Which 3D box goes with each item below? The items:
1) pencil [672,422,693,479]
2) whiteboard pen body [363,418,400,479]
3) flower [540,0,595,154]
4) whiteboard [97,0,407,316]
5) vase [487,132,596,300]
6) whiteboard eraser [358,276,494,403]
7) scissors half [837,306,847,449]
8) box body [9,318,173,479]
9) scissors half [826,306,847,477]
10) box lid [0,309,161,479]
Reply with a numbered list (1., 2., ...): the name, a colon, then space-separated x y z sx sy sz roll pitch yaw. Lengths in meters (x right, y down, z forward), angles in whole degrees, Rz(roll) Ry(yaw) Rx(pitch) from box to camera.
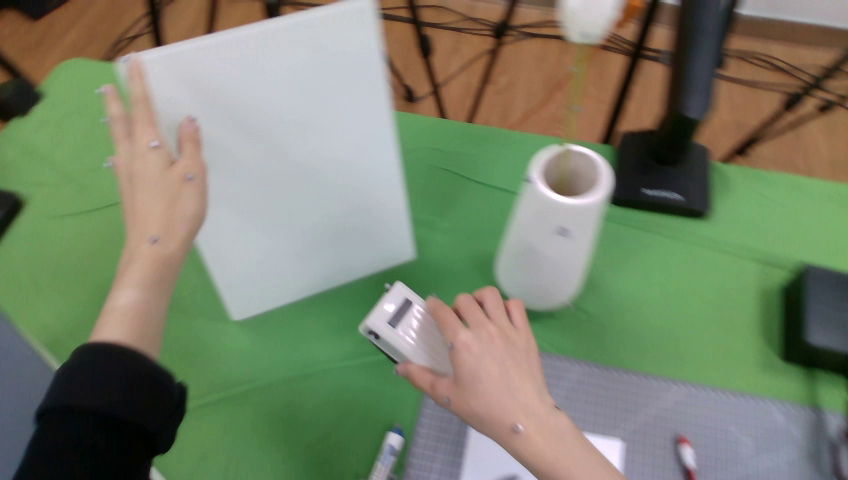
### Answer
1. pencil: 0.254 0.266 0.555 0.012 0.012 0.192 -2 61 -1
2. whiteboard pen body: -0.053 0.234 0.568 0.017 0.017 0.140 17 58 10
3. flower: 0.114 -0.076 0.556 0.044 0.365 0.038 4 41 6
4. whiteboard: -0.163 -0.105 0.644 0.217 0.308 0.142 -20 41 -11
5. vase: 0.118 -0.019 0.619 0.098 0.201 0.097 0 57 1
6. whiteboard eraser: 0.001 0.087 0.526 0.113 0.042 0.055 40 62 -1
7. scissors half: 0.415 0.135 0.584 0.013 0.040 0.174 16 50 5
8. box body: -0.362 0.233 0.483 0.361 0.162 0.253 35 65 19
9. scissors half: 0.415 0.145 0.602 0.013 0.040 0.174 13 68 10
10. box lid: -0.364 0.193 0.420 0.369 0.015 0.263 35 64 19
